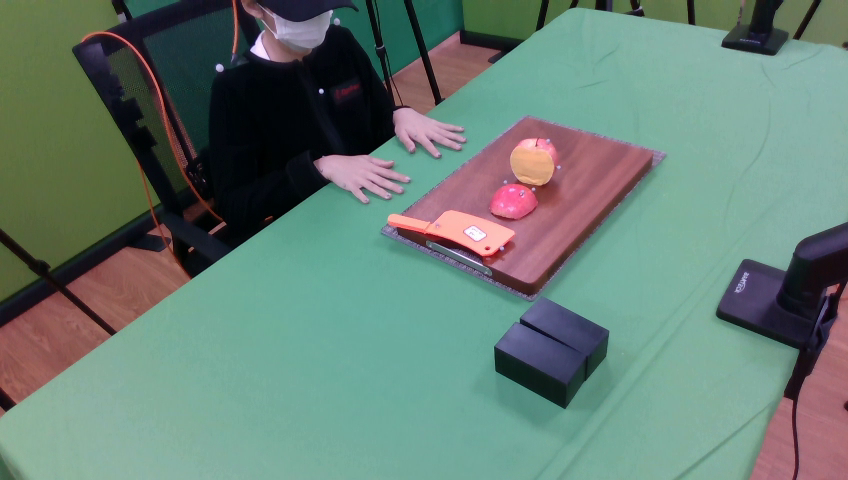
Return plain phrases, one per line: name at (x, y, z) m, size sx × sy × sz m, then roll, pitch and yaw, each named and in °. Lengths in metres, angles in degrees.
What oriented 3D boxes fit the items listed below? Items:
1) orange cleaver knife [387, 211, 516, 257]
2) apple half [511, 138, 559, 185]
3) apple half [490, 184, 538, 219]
orange cleaver knife at (0.040, -0.020, 0.953) m, size 0.210 × 0.012 × 0.077 m, roll 16°, pitch 48°, yaw 29°
apple half at (0.192, -0.137, 1.024) m, size 0.080 × 0.075 × 0.053 m, roll 11°, pitch 40°, yaw 28°
apple half at (0.145, -0.069, 0.983) m, size 0.081 × 0.033 × 0.081 m, roll -4°, pitch 38°, yaw 3°
